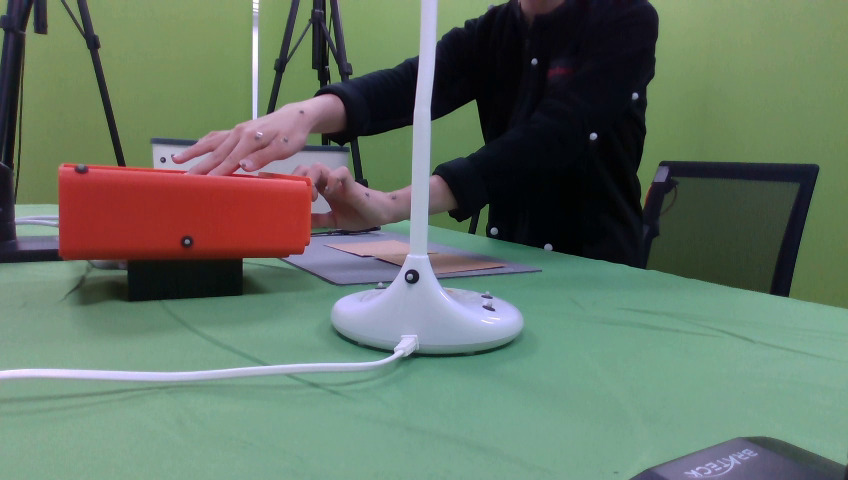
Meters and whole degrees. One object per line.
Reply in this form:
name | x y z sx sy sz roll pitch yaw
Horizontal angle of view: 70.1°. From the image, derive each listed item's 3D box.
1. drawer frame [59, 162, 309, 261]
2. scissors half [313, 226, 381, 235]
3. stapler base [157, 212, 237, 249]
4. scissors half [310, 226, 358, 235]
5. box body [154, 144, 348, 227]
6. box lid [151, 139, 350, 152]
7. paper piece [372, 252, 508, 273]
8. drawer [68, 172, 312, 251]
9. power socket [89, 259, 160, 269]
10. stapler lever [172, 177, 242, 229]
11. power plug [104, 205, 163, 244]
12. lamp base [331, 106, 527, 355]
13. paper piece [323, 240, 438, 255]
drawer frame | -0.251 -0.033 0.625 0.215 0.082 0.200 0 8 -31
scissors half | -0.153 -0.015 1.079 0.176 0.013 0.040 -7 2 -33
stapler base | -0.227 -0.017 0.624 0.041 0.024 0.130 18 10 -2
scissors half | -0.166 -0.015 1.094 0.040 0.013 0.176 3 7 39
box body | -0.357 -0.119 1.264 0.365 0.160 0.253 0 7 -18
box lid | -0.352 -0.191 1.255 0.373 0.015 0.262 0 8 -18
paper piece | 0.021 0.029 0.829 0.139 0.008 0.135 -1 11 -37
drawer | -0.246 -0.036 0.629 0.213 0.073 0.193 -2 9 -30
power socket | -0.409 0.004 0.793 0.072 0.032 0.225 -2 8 -38
stapler lever | -0.217 -0.040 0.619 0.027 0.040 0.118 18 10 -2
power plug | -0.390 -0.021 0.815 0.073 0.052 0.035 -1 8 -27
lamp base | 0.006 -0.012 0.478 0.161 0.180 0.179 2 10 2
paper piece | -0.068 0.011 0.934 0.136 0.004 0.134 -2 9 -31
